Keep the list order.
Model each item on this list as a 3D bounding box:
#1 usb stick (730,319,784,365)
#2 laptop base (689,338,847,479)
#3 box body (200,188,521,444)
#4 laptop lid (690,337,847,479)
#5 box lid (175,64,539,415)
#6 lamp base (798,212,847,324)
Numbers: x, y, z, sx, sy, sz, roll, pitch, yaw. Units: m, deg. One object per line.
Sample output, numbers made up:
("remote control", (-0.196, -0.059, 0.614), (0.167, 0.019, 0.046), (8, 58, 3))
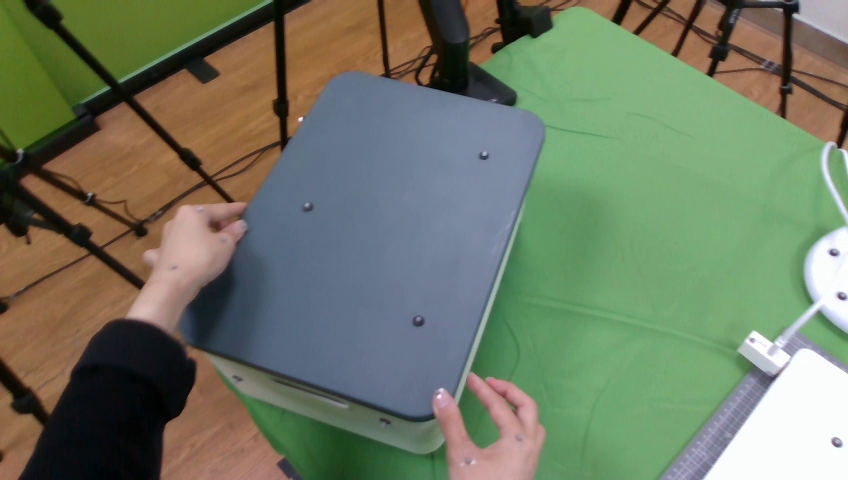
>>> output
("usb stick", (0.368, 0.116, 0.658), (0.021, 0.027, 0.058), (-35, 65, -25))
("laptop base", (0.453, 0.279, 0.564), (0.351, 0.023, 0.235), (39, 69, 23))
("box body", (-0.048, 0.010, 0.668), (0.253, 0.162, 0.362), (15, 58, 11))
("laptop lid", (0.450, 0.274, 0.553), (0.241, 0.013, 0.353), (-41, 64, -19))
("box lid", (-0.048, -0.033, 0.606), (0.262, 0.015, 0.369), (16, 60, 11))
("lamp base", (0.526, -0.012, 0.657), (0.160, 0.182, 0.177), (5, 54, 5))
